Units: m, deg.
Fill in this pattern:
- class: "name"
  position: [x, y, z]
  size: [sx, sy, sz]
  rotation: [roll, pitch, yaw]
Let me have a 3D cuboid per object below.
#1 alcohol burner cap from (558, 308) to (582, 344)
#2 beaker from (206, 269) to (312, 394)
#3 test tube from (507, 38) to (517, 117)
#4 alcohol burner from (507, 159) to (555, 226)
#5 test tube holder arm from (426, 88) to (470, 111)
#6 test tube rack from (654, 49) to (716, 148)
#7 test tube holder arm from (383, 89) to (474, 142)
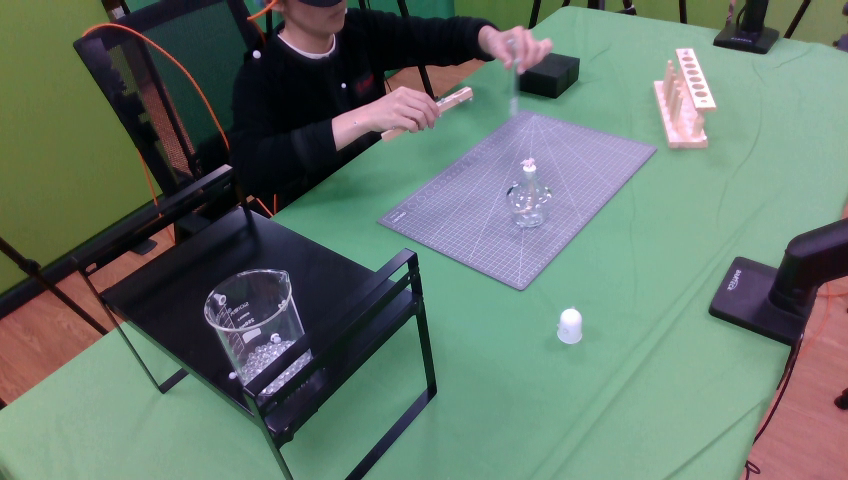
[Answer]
- class: "alcohol burner cap"
  position: [0.194, 0.111, 0.802]
  size: [0.034, 0.048, 0.033]
  rotation: [-4, 39, 4]
- class: "beaker"
  position: [-0.146, 0.086, 0.560]
  size: [0.073, 0.101, 0.084]
  rotation: [19, 47, 28]
- class: "test tube"
  position: [0.156, -0.281, 1.059]
  size: [0.017, 0.151, 0.017]
  rotation: [-4, 43, 5]
- class: "alcohol burner"
  position: [0.172, -0.081, 0.969]
  size: [0.078, 0.119, 0.077]
  rotation: [-4, 42, 4]
- class: "test tube holder arm"
  position: [0.044, -0.237, 1.042]
  size: [0.088, 0.015, 0.010]
  rotation: [-31, 29, -15]
- class: "test tube rack"
  position: [0.502, -0.280, 1.176]
  size: [0.066, 0.085, 0.241]
  rotation: [2, 41, 11]
- class: "test tube holder arm"
  position: [0.009, -0.213, 1.025]
  size: [0.179, 0.015, 0.013]
  rotation: [-31, 29, -16]
